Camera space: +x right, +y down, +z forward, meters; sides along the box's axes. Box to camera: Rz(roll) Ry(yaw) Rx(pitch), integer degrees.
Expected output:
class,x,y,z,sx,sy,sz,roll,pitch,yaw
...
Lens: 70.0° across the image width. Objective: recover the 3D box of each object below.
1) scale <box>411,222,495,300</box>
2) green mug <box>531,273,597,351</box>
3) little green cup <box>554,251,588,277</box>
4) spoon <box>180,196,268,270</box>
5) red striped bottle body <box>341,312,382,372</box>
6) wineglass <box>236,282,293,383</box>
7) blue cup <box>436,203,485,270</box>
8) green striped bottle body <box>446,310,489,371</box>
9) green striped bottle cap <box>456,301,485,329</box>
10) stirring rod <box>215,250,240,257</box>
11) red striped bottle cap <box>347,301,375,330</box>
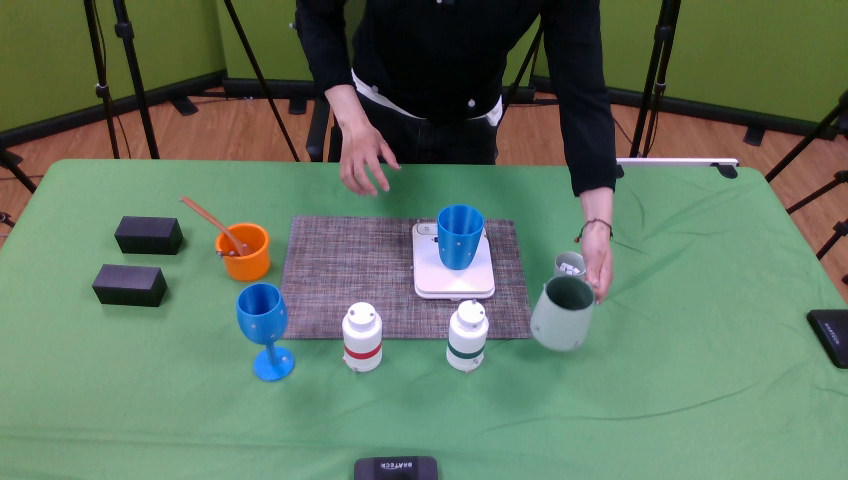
class,x,y,z,sx,sy,sz,roll,pitch,yaw
scale,0.052,0.031,1.158,0.149,0.032,0.199,1,46,-4
green mug,0.236,0.109,0.985,0.125,0.105,0.092,-32,54,-32
little green cup,0.276,0.055,1.151,0.061,0.039,0.061,1,45,-1
spoon,-0.360,-0.014,1.094,0.021,0.194,0.041,-28,26,31
red striped bottle body,-0.100,0.154,0.972,0.063,0.120,0.062,2,46,-1
wineglass,-0.243,0.143,0.934,0.074,0.173,0.073,2,46,-2
blue cup,0.061,-0.001,1.099,0.093,0.101,0.092,2,44,-2
green striped bottle body,0.070,0.155,0.984,0.063,0.120,0.063,2,46,-2
green striped bottle cap,0.073,0.116,0.943,0.044,0.020,0.044,2,47,-2
stirring rod,-0.339,0.024,1.059,0.014,0.176,0.006,16,86,-6
red striped bottle cap,-0.097,0.116,0.934,0.044,0.018,0.044,3,49,-3
